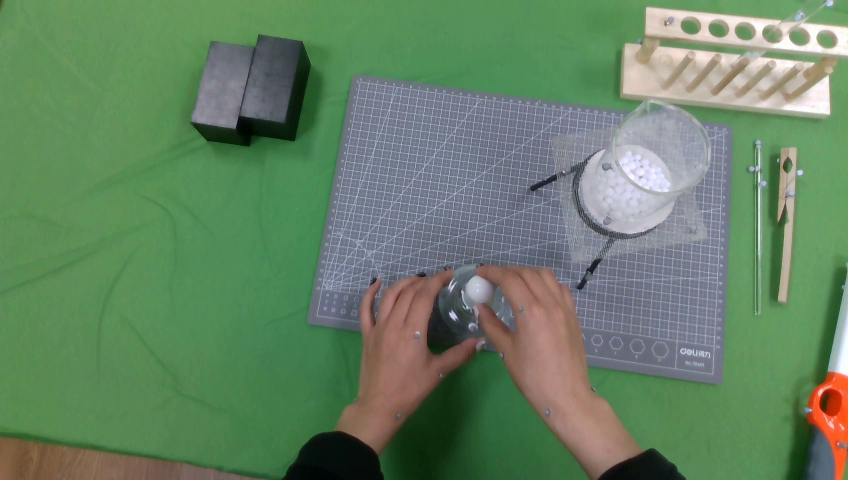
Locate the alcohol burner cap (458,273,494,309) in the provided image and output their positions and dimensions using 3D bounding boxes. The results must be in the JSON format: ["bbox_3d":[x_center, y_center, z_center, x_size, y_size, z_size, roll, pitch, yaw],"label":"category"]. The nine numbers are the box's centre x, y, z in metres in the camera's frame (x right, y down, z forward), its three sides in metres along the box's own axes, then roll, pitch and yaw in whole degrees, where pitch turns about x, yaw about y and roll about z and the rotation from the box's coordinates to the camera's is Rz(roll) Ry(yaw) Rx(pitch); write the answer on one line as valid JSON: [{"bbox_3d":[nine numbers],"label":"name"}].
[{"bbox_3d":[0.051,0.046,0.575,0.034,0.048,0.033,1,74,-3],"label":"alcohol burner cap"}]

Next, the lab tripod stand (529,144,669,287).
[{"bbox_3d":[0.176,-0.034,0.619,0.148,0.132,0.147,0,78,2],"label":"lab tripod stand"}]

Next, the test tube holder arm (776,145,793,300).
[{"bbox_3d":[0.404,-0.021,0.679,0.013,0.015,0.177,1,76,34],"label":"test tube holder arm"}]

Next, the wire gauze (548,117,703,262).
[{"bbox_3d":[0.182,-0.049,0.555,0.121,0.011,0.124,-8,79,1],"label":"wire gauze"}]

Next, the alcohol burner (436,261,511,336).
[{"bbox_3d":[0.051,0.056,0.609,0.078,0.119,0.077,0,75,-1],"label":"alcohol burner"}]

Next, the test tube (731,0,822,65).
[{"bbox_3d":[0.373,-0.224,0.639,0.017,0.150,0.017,1,78,-6],"label":"test tube"}]

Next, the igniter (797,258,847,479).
[{"bbox_3d":[0.435,0.150,0.639,0.057,0.025,0.275,21,78,-6],"label":"igniter"}]

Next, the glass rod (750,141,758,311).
[{"bbox_3d":[0.372,-0.018,0.684,0.008,0.008,0.199,7,78,1],"label":"glass rod"}]

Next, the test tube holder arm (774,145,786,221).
[{"bbox_3d":[0.406,-0.065,0.691,0.010,0.015,0.087,1,76,34],"label":"test tube holder arm"}]

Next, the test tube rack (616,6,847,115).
[{"bbox_3d":[0.352,-0.200,0.684,0.242,0.085,0.066,6,77,1],"label":"test tube rack"}]

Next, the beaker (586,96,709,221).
[{"bbox_3d":[0.180,-0.063,0.509,0.074,0.100,0.083,-7,77,0],"label":"beaker"}]
